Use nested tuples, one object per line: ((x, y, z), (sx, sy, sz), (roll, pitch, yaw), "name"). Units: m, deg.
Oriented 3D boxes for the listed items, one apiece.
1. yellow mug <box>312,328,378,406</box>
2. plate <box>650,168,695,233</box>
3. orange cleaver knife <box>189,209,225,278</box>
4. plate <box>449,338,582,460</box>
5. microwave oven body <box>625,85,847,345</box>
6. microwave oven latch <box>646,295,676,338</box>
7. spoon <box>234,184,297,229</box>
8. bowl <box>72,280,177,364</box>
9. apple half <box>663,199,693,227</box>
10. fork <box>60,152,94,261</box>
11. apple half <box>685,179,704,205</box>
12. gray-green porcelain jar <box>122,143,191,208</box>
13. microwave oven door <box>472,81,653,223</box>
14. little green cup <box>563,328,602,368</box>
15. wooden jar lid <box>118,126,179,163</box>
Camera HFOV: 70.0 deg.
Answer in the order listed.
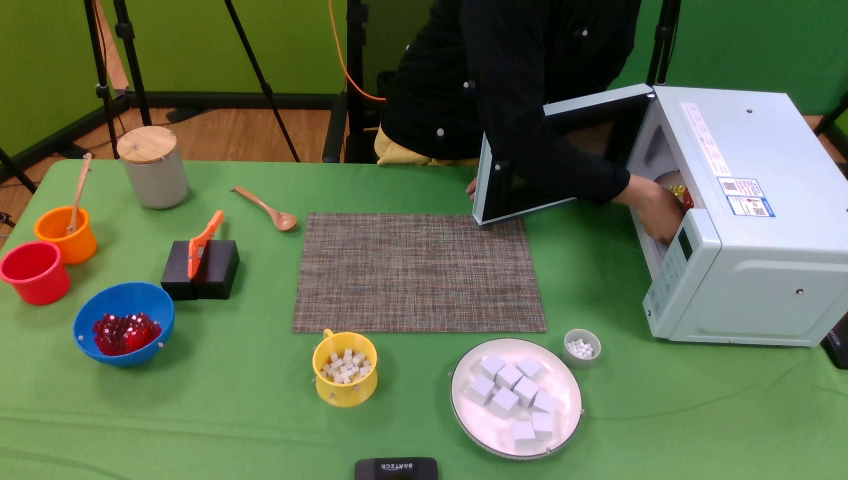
((-0.132, 0.193, 0.971), (0.100, 0.064, 0.130), (-22, 51, -22), "yellow mug")
((0.544, -0.062, 1.179), (0.209, 0.038, 0.208), (0, 46, 0), "plate")
((-0.401, 0.002, 1.122), (0.012, 0.077, 0.210), (4, 23, -4), "orange cleaver knife")
((0.141, 0.251, 0.955), (0.208, 0.039, 0.206), (2, 46, -2), "plate")
((0.568, -0.054, 1.116), (0.326, 0.261, 0.439), (2, 46, -1), "microwave oven body")
((0.412, 0.133, 1.060), (0.030, 0.029, 0.078), (4, 46, 1), "microwave oven latch")
((-0.328, -0.073, 1.240), (0.193, 0.022, 0.041), (34, 69, 25), "spoon")
((-0.473, 0.146, 0.982), (0.151, 0.077, 0.150), (2, 46, -2), "bowl")
((0.497, -0.056, 1.156), (0.081, 0.033, 0.081), (6, 48, -6), "apple half")
((-0.638, -0.063, 1.120), (0.028, 0.018, 0.207), (12, 90, 5), "fork")
((0.558, -0.098, 1.186), (0.081, 0.053, 0.074), (5, 39, 13), "apple half")
((-0.531, -0.137, 1.213), (0.106, 0.127, 0.105), (2, 47, -2), "gray-green porcelain jar")
((0.273, -0.174, 1.202), (0.356, 0.245, 0.039), (-16, 50, -18), "microwave oven door")
((0.266, 0.185, 1.025), (0.061, 0.039, 0.061), (2, 44, -2), "little green cup")
((-0.528, -0.181, 1.167), (0.108, 0.021, 0.107), (3, 47, -4), "wooden jar lid")
